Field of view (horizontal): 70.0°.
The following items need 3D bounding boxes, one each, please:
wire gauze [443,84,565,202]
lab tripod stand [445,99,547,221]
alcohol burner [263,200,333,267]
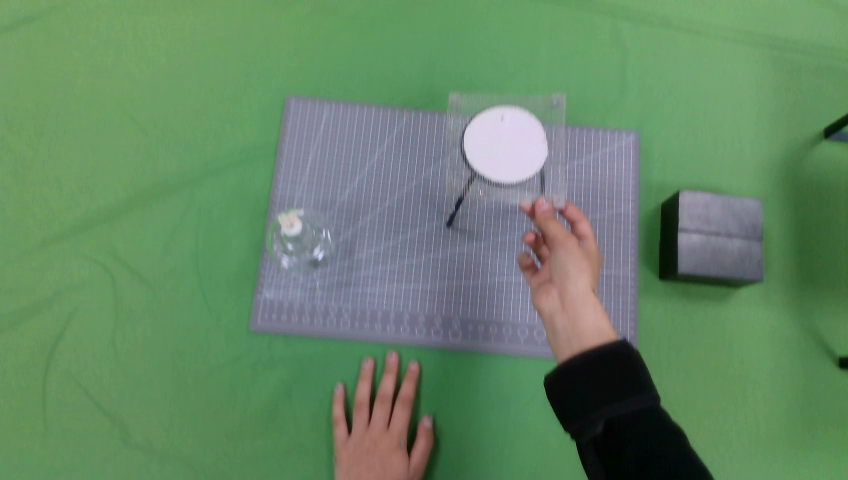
[{"bbox_3d":[0.082,-0.101,0.613,0.125,0.011,0.121,4,78,0],"label":"wire gauze"},{"bbox_3d":[0.076,-0.092,0.681,0.148,0.132,0.147,0,77,-1],"label":"lab tripod stand"},{"bbox_3d":[-0.140,-0.011,0.660,0.078,0.119,0.077,1,78,-2],"label":"alcohol burner"}]
